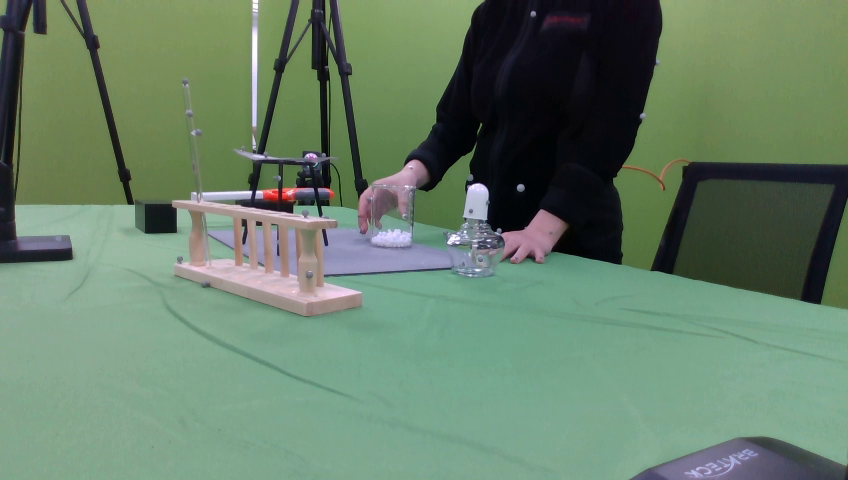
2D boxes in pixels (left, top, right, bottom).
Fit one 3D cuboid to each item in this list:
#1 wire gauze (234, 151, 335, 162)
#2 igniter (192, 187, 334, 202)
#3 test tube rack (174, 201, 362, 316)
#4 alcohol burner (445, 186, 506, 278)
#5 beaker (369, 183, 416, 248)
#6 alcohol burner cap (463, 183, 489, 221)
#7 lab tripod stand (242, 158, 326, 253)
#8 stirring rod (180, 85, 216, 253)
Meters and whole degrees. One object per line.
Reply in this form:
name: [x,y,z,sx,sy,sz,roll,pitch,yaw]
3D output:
wire gauze: [-0.204,-0.121,0.887,0.122,0.011,0.124,0,8,-32]
igniter: [-0.316,-0.090,1.213,0.278,0.025,0.057,-5,13,-31]
test tube rack: [-0.169,0.010,0.622,0.241,0.085,0.067,9,9,41]
alcohol burner: [0.066,-0.013,0.770,0.078,0.119,0.078,0,7,0]
beaker: [-0.050,-0.039,0.971,0.074,0.100,0.083,-2,9,-25]
alcohol burner cap: [0.067,-0.048,0.765,0.034,0.048,0.034,5,5,0]
lab tripod stand: [-0.207,-0.054,0.895,0.148,0.131,0.148,3,5,0]
stirring rod: [-0.237,-0.073,0.634,0.006,0.176,0.014,1,10,42]
